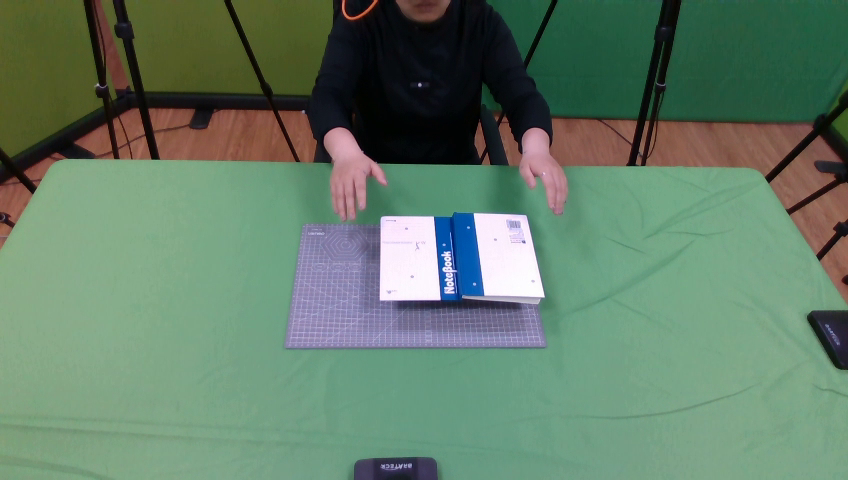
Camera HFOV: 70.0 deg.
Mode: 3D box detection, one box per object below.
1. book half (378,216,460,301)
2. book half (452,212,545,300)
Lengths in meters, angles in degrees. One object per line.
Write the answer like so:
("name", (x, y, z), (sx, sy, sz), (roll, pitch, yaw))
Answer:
("book half", (-0.011, 0.029, 1.110), (0.143, 0.007, 0.208), (0, 46, -4))
("book half", (0.132, 0.026, 1.116), (0.149, 0.016, 0.209), (2, 45, -5))
